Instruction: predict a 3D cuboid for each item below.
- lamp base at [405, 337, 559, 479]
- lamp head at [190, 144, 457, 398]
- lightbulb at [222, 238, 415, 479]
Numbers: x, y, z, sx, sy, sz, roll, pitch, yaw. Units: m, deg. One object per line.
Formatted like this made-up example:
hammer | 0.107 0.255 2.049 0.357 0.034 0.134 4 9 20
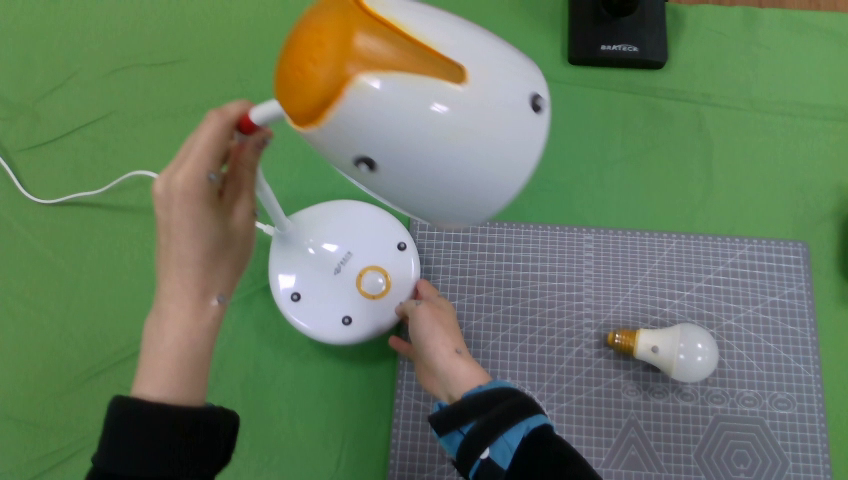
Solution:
lamp base | 0.047 0.155 0.593 0.179 0.181 0.159 10 70 12
lamp head | -0.059 0.028 0.300 0.113 0.123 0.111 17 61 -33
lightbulb | -0.043 0.048 0.232 0.059 0.060 0.107 19 65 12
